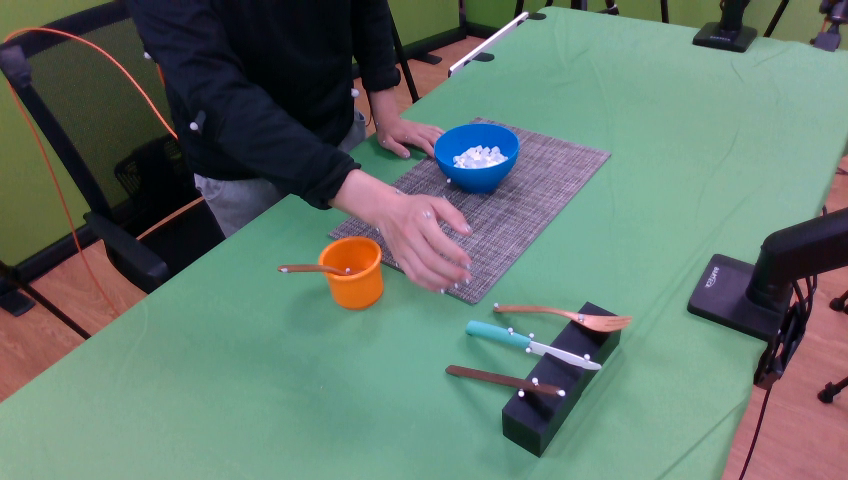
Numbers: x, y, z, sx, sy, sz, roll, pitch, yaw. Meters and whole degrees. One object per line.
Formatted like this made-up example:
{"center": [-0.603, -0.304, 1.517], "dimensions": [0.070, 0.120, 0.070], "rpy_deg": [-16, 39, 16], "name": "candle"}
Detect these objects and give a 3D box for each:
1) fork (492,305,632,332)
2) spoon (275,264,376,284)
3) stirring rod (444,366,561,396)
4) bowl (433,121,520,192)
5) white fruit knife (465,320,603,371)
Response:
{"center": [0.170, 0.097, 0.783], "dimensions": [0.205, 0.019, 0.028], "rpy_deg": [4, 38, 43], "name": "fork"}
{"center": [-0.133, 0.044, 0.839], "dimensions": [0.041, 0.195, 0.021], "rpy_deg": [25, 95, 33], "name": "spoon"}
{"center": [0.088, 0.166, 0.718], "dimensions": [0.175, 0.006, 0.014], "rpy_deg": [-1, 25, 48], "name": "stirring rod"}
{"center": [0.094, -0.137, 1.064], "dimensions": [0.151, 0.077, 0.150], "rpy_deg": [-4, 41, 4], "name": "bowl"}
{"center": [0.129, 0.129, 0.750], "dimensions": [0.205, 0.027, 0.016], "rpy_deg": [10, 45, 44], "name": "white fruit knife"}
